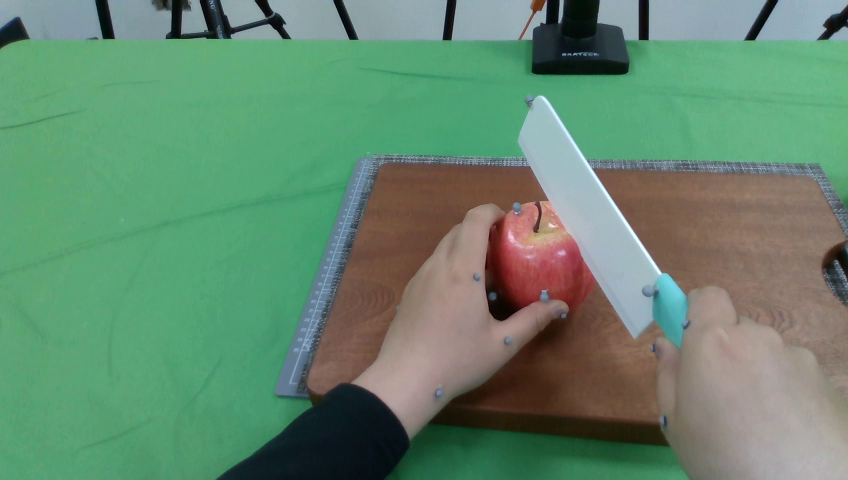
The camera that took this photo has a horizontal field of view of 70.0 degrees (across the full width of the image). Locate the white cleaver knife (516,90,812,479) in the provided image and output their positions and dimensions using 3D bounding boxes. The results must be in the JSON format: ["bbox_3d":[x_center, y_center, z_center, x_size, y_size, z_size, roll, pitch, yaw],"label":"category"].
[{"bbox_3d":[0.123,0.024,0.354,0.021,0.066,0.283,-16,60,-12],"label":"white cleaver knife"}]

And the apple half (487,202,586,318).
[{"bbox_3d":[0.073,0.019,0.432,0.053,0.075,0.080,-20,47,-11],"label":"apple half"}]

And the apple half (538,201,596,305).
[{"bbox_3d":[0.109,0.007,0.441,0.033,0.082,0.080,-19,45,-11],"label":"apple half"}]
